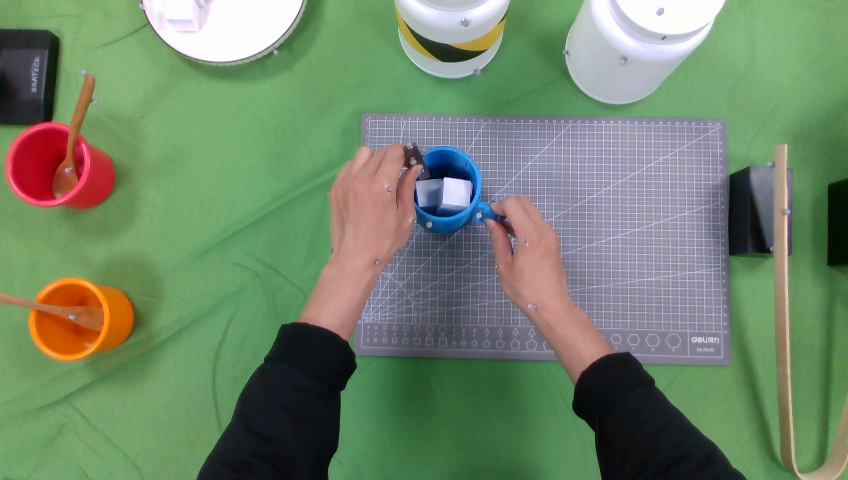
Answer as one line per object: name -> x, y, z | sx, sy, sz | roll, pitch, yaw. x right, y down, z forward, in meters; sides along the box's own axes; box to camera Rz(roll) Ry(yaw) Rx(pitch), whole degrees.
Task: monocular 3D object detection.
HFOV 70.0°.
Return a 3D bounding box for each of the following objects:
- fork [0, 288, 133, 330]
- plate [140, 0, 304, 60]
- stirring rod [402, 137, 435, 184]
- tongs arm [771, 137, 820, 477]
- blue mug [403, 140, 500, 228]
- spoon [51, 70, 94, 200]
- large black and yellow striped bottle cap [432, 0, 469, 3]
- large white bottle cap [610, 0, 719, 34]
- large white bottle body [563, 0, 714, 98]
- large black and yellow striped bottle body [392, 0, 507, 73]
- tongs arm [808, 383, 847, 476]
fork -> -0.431, 0.067, 0.669 | 0.209, 0.018, 0.028 | 24, 84, -40
plate -> -0.246, -0.322, 0.755 | 0.208, 0.039, 0.207 | 0, 85, 1
stirring rod -> -0.004, -0.081, 0.638 | 0.014, 0.177, 0.006 | -23, 81, 4
tongs arm -> 0.416, 0.078, 0.677 | 0.051, 0.026, 0.385 | -3, 97, -2
blue mug -> 0.035, -0.052, 0.691 | 0.116, 0.106, 0.082 | 29, 86, 3
spoon -> -0.397, -0.114, 0.686 | 0.041, 0.021, 0.194 | 47, 131, 8
large black and yellow striped bottle cap -> 0.026, -0.290, 0.591 | 0.115, 0.019, 0.115 | 0, 86, 0
large white bottle cap -> 0.232, -0.257, 0.584 | 0.115, 0.018, 0.114 | 0, 85, 0
large white bottle body -> 0.234, -0.247, 0.667 | 0.130, 0.185, 0.130 | 0, 85, 1
large black and yellow striped bottle body -> 0.029, -0.280, 0.674 | 0.131, 0.184, 0.130 | 0, 84, 1
tongs arm -> 0.498, 0.081, 0.678 | 0.028, 0.027, 0.388 | 10, 97, -6
